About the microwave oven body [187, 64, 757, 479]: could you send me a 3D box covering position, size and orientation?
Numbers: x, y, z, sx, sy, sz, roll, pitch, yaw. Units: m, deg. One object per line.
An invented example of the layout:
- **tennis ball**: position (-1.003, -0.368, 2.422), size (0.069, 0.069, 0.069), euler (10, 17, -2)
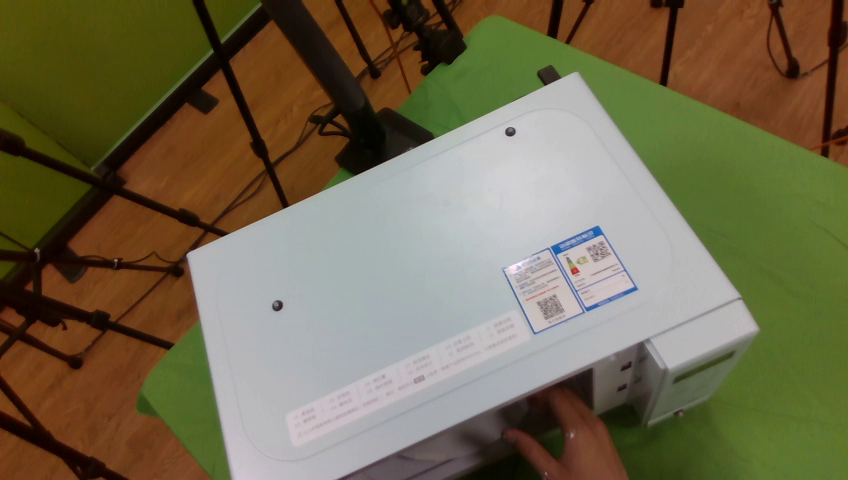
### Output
- **microwave oven body**: position (0.033, 0.077, 0.648), size (0.442, 0.263, 0.322), euler (-25, 61, 2)

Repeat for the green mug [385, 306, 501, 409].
- **green mug**: position (0.024, 0.132, 0.647), size (0.124, 0.106, 0.092), euler (20, 68, 23)

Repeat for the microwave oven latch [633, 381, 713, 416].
- **microwave oven latch**: position (0.269, 0.162, 0.655), size (0.079, 0.030, 0.030), euler (-24, 61, 3)
